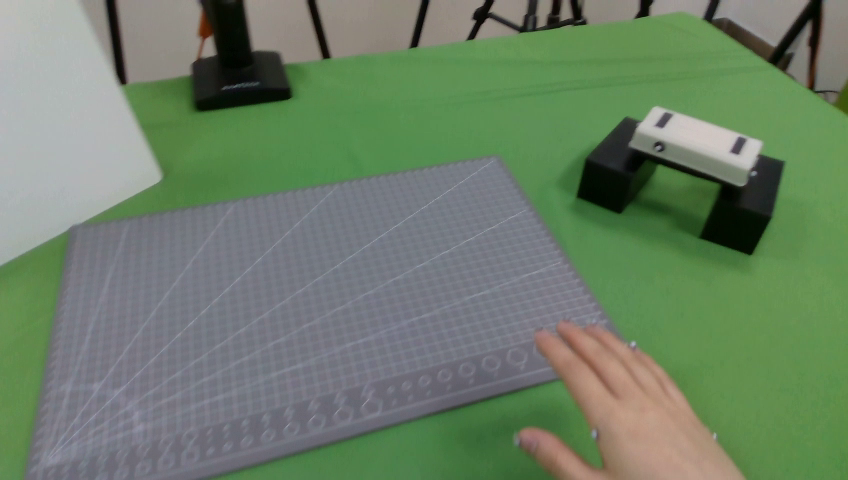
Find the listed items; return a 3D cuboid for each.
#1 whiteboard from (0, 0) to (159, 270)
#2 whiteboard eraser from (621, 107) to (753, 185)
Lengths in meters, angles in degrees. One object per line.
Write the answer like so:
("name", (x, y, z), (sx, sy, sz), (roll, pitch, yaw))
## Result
("whiteboard", (-0.439, -0.142, 0.557), (0.142, 0.308, 0.217), (13, 41, 41))
("whiteboard eraser", (0.256, -0.091, 0.594), (0.112, 0.042, 0.055), (24, 47, 23))
